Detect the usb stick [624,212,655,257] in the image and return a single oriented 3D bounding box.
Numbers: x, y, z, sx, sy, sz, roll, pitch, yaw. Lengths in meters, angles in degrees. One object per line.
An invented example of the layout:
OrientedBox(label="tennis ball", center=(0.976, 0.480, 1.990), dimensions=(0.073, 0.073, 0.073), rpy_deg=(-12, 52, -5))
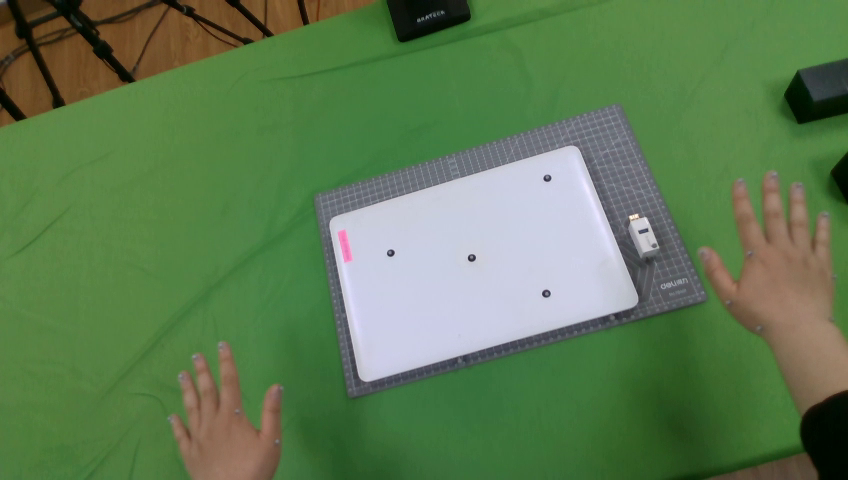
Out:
OrientedBox(label="usb stick", center=(0.265, -0.011, 0.751), dimensions=(0.021, 0.027, 0.058), rpy_deg=(-18, 62, 7))

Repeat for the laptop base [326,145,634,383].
OrientedBox(label="laptop base", center=(0.059, 0.026, 0.782), dimensions=(0.354, 0.023, 0.233), rpy_deg=(-17, 69, 3))

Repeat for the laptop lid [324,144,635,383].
OrientedBox(label="laptop lid", center=(0.058, 0.023, 0.771), dimensions=(0.356, 0.013, 0.239), rpy_deg=(-16, 68, 4))
